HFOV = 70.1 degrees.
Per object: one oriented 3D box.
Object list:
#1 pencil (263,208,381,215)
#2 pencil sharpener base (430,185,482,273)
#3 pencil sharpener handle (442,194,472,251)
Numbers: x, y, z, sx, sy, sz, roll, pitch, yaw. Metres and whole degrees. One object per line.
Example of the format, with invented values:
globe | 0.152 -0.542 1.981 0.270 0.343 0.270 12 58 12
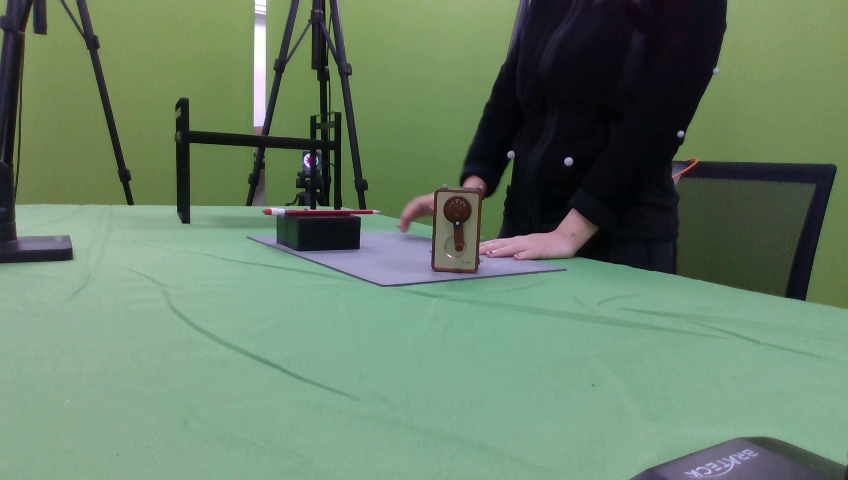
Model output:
pencil | -0.153 -0.044 0.941 0.195 0.012 0.012 -2 9 -32
pencil sharpener base | 0.042 -0.015 0.784 0.061 0.107 0.076 3 8 3
pencil sharpener handle | 0.041 -0.021 0.731 0.036 0.067 0.030 -5 7 4
